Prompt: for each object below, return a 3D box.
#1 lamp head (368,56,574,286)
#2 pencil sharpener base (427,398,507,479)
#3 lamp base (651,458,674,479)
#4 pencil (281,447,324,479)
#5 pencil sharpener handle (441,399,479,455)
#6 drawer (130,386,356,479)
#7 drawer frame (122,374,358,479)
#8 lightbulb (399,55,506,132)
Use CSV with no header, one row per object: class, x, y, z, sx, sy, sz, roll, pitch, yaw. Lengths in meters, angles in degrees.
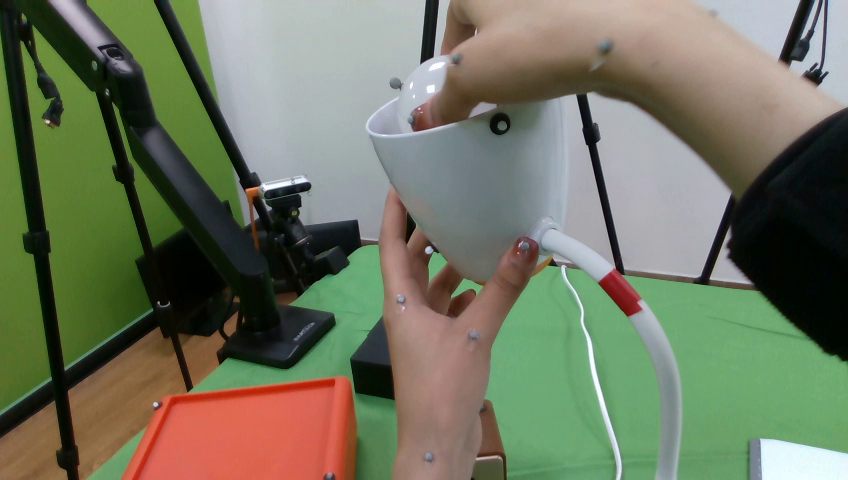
lamp head,0.040,-0.033,0.356,0.112,0.124,0.111,-20,21,8
pencil sharpener base,0.038,0.204,0.536,0.061,0.108,0.076,-6,25,-1
lamp base,0.150,0.236,0.356,0.161,0.181,0.178,-8,22,-4
pencil,-0.162,0.246,0.523,0.194,0.012,0.012,-37,38,-30
pencil sharpener handle,0.032,0.172,0.577,0.036,0.068,0.030,-1,25,-4
drawer,-0.165,0.229,0.550,0.194,0.074,0.210,-6,24,-1
drawer frame,-0.167,0.227,0.553,0.202,0.083,0.212,-7,24,-2
lightbulb,0.026,-0.053,0.349,0.059,0.109,0.059,-20,32,13
